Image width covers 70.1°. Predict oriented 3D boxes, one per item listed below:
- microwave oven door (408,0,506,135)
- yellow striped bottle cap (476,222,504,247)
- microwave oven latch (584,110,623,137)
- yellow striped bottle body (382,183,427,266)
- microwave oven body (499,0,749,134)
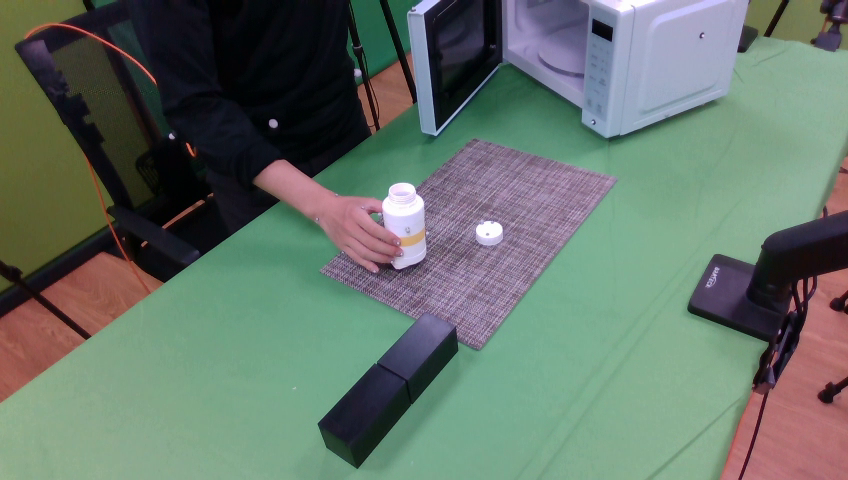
[{"bbox_3d":[0.080,-0.413,1.241,0.039,0.245,0.356,11,44,25],"label":"microwave oven door"},{"bbox_3d":[0.105,-0.010,0.966,0.044,0.019,0.044,-4,39,4],"label":"yellow striped bottle cap"},{"bbox_3d":[0.337,-0.222,1.142,0.030,0.029,0.078,-21,42,-14],"label":"microwave oven latch"},{"bbox_3d":[-0.029,-0.026,0.902,0.063,0.121,0.062,-1,38,2],"label":"yellow striped bottle body"},{"bbox_3d":[0.381,-0.444,1.246,0.327,0.261,0.437,-22,42,-16],"label":"microwave oven body"}]
